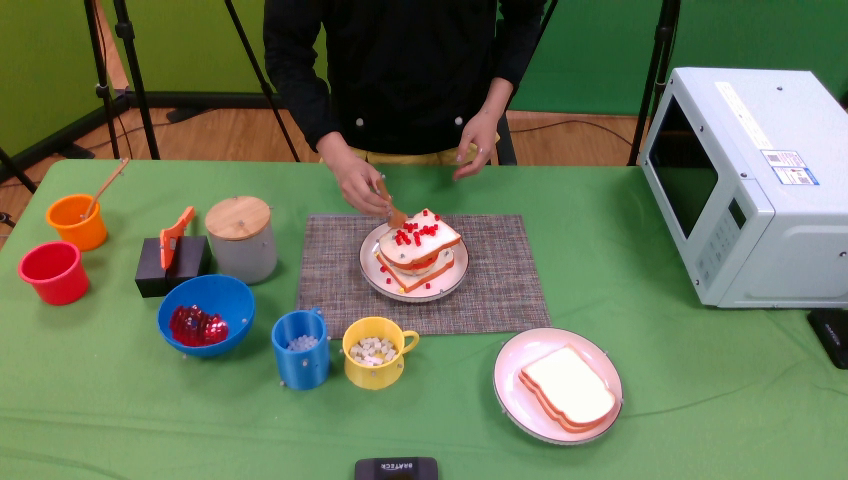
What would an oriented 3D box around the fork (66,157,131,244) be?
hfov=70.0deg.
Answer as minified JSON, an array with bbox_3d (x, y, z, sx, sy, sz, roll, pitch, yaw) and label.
[{"bbox_3d":[-0.608,-0.074,1.132,0.207,0.019,0.028,-52,48,10],"label":"fork"}]

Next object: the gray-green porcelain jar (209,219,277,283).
[{"bbox_3d":[-0.323,0.007,1.092,0.106,0.127,0.105,2,46,-1],"label":"gray-green porcelain jar"}]

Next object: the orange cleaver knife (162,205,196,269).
[{"bbox_3d":[-0.454,-0.010,1.129,0.012,0.077,0.210,-1,20,-5],"label":"orange cleaver knife"}]

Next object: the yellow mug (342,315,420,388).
[{"bbox_3d":[-0.068,0.177,0.990,0.131,0.064,0.099,-15,50,-19],"label":"yellow mug"}]

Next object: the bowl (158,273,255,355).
[{"bbox_3d":[-0.351,0.136,1.001,0.151,0.077,0.150,2,46,-2],"label":"bowl"}]

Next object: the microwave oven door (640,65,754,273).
[{"bbox_3d":[0.523,-0.147,1.193,0.039,0.245,0.353,0,47,-3],"label":"microwave oven door"}]

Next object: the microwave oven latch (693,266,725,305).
[{"bbox_3d":[0.523,0.081,1.115,0.030,0.029,0.078,3,46,0],"label":"microwave oven latch"}]

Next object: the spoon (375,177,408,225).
[{"bbox_3d":[-0.060,-0.064,1.034,0.041,0.194,0.021,-26,66,0],"label":"spoon"}]

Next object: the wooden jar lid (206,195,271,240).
[{"bbox_3d":[-0.319,-0.036,1.046,0.108,0.021,0.107,1,44,0],"label":"wooden jar lid"}]

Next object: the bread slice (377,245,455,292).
[{"bbox_3d":[-0.010,0.034,1.150,0.131,0.019,0.104,-29,56,-23],"label":"bread slice"}]

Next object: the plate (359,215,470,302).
[{"bbox_3d":[-0.019,0.038,1.140,0.209,0.038,0.208,2,46,-2],"label":"plate"}]

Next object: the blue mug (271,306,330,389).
[{"bbox_3d":[-0.188,0.163,0.969,0.082,0.106,0.116,15,47,10],"label":"blue mug"}]

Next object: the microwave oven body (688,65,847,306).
[{"bbox_3d":[0.669,-0.111,1.176,0.326,0.261,0.439,0,46,-3],"label":"microwave oven body"}]

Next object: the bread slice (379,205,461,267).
[{"bbox_3d":[-0.013,-0.002,1.097,0.134,0.018,0.106,-33,48,-22],"label":"bread slice"}]

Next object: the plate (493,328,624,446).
[{"bbox_3d":[0.213,0.236,0.974,0.208,0.039,0.206,2,46,-2],"label":"plate"}]
